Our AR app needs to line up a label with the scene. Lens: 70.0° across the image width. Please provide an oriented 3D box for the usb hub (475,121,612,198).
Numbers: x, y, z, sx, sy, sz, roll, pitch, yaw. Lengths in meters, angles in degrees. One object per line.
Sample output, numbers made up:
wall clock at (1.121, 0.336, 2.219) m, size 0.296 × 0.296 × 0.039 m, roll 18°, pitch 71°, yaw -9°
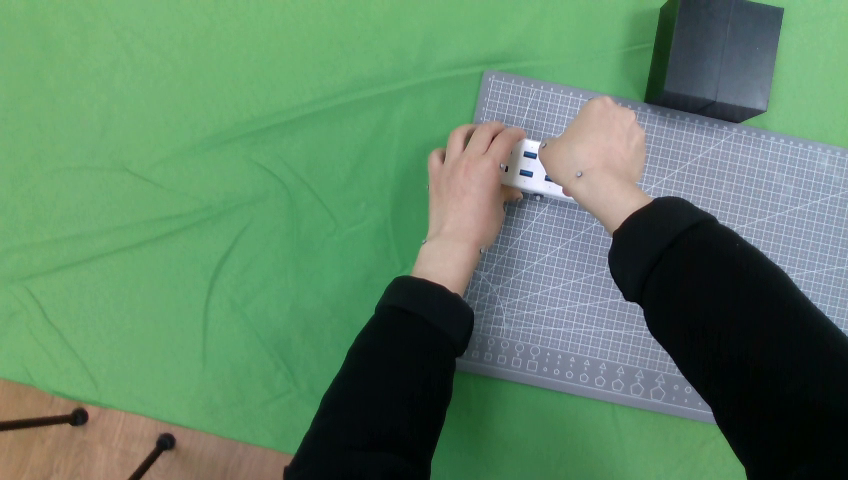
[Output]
usb hub at (0.117, -0.079, 0.595) m, size 0.125 × 0.025 × 0.049 m, roll 13°, pitch 90°, yaw -2°

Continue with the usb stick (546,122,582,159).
usb stick at (0.128, -0.091, 0.566) m, size 0.021 × 0.059 × 0.027 m, roll 9°, pitch 86°, yaw -1°
